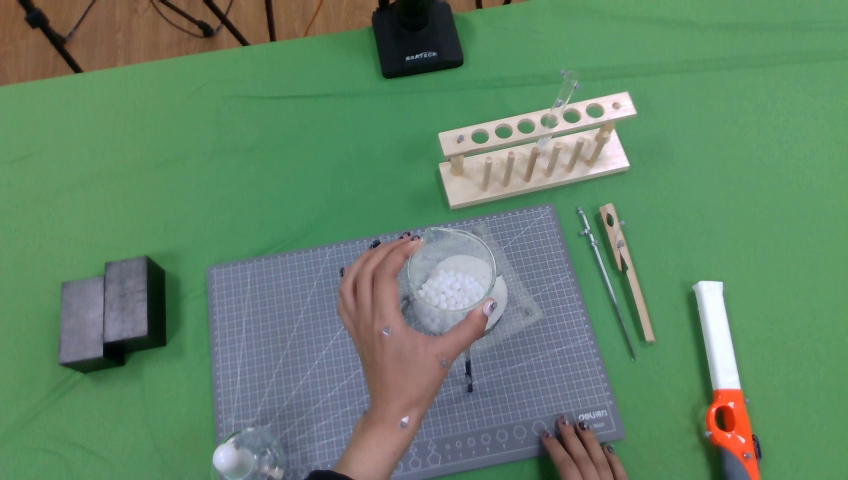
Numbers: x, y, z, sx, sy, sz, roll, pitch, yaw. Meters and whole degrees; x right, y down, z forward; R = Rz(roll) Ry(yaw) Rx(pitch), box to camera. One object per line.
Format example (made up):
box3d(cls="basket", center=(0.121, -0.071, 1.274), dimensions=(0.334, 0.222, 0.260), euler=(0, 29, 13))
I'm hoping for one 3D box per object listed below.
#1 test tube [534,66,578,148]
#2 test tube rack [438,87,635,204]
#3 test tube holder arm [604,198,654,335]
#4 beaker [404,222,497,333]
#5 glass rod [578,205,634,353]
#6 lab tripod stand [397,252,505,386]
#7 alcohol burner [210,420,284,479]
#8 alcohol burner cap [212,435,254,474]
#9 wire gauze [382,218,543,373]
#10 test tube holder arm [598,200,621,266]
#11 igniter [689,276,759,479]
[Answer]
box3d(cls="test tube", center=(0.157, -0.156, 0.733), dimensions=(0.017, 0.151, 0.017), euler=(2, 66, -4))
box3d(cls="test tube rack", center=(0.142, -0.118, 0.771), dimensions=(0.242, 0.086, 0.066), euler=(-13, 68, -4))
box3d(cls="test tube holder arm", center=(0.250, 0.030, 0.743), dimensions=(0.013, 0.015, 0.177), euler=(-24, 66, 28))
box3d(cls="beaker", center=(0.021, 0.037, 0.539), dimensions=(0.074, 0.101, 0.083), euler=(-24, 69, -8))
box3d(cls="glass rod", center=(0.221, 0.044, 0.744), dimensions=(0.008, 0.008, 0.198), euler=(-12, 67, -4))
box3d(cls="lab tripod stand", center=(0.033, 0.078, 0.664), dimensions=(0.148, 0.132, 0.147), euler=(-1, 69, 3))
box3d(cls="alcohol burner", center=(-0.186, 0.222, 0.621), dimensions=(0.078, 0.120, 0.077), euler=(-1, 65, 2))
box3d(cls="alcohol burner cap", center=(-0.188, 0.206, 0.588), dimensions=(0.034, 0.048, 0.033), euler=(-1, 57, 2))
box3d(cls="wire gauze", center=(0.036, 0.050, 0.603), dimensions=(0.121, 0.011, 0.124), euler=(-26, 69, -7))
box3d(cls="test tube holder arm", center=(0.237, -0.009, 0.762), dimensions=(0.010, 0.015, 0.087), euler=(-24, 66, 28))
box3d(cls="igniter", center=(0.336, 0.173, 0.680), dimensions=(0.057, 0.025, 0.274), euler=(4, 68, -8))
